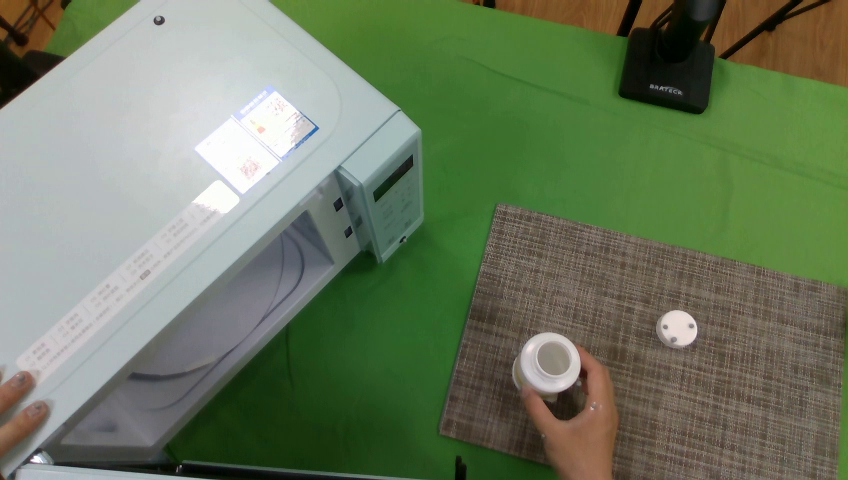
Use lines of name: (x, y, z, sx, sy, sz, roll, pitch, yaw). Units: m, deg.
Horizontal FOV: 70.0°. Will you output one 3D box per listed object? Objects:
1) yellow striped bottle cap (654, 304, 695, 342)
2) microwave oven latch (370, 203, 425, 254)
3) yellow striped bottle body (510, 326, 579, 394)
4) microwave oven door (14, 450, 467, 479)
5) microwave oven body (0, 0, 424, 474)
yellow striped bottle cap: (0.305, 0.101, 0.735, 0.044, 0.019, 0.044, 0, 71, 2)
microwave oven latch: (-0.033, -0.021, 0.749, 0.030, 0.029, 0.079, 43, 78, 12)
yellow striped bottle body: (0.132, 0.132, 0.663, 0.063, 0.121, 0.062, 0, 71, 1)
microwave oven door: (-0.132, 0.228, 0.561, 0.356, 0.245, 0.039, 4, 71, 1)
microwave oven body: (-0.263, -0.023, 0.649, 0.324, 0.261, 0.441, 41, 77, 12)
